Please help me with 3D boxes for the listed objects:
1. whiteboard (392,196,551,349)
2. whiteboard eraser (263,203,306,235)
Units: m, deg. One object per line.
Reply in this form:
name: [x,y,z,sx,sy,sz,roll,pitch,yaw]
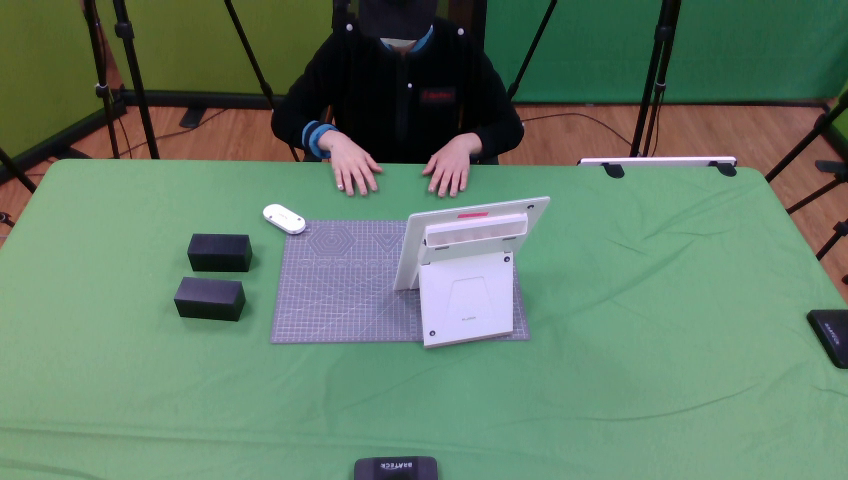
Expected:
whiteboard: [0.077,0.071,0.977,0.217,0.306,0.143,-7,67,-11]
whiteboard eraser: [-0.281,-0.043,1.216,0.101,0.019,0.041,29,53,25]
